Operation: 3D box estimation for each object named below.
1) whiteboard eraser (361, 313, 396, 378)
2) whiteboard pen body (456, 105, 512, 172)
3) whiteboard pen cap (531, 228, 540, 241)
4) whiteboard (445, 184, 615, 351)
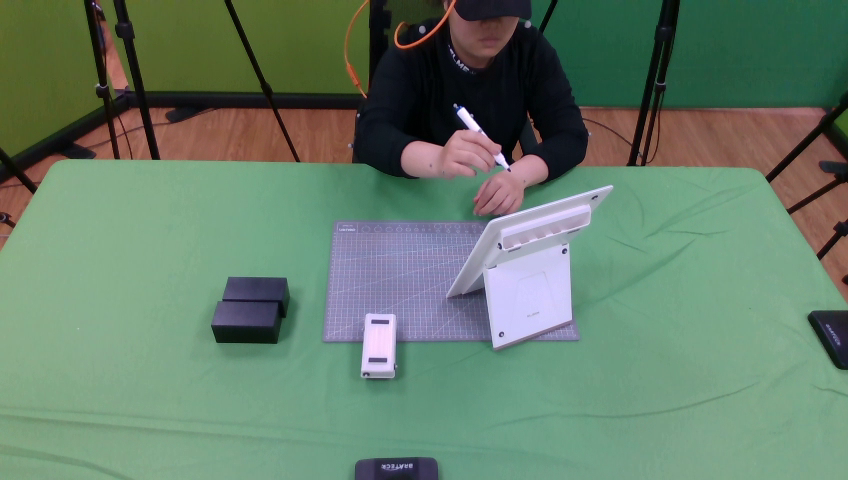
[{"bbox_3d":[-0.075,0.176,1.006,0.055,0.042,0.112,3,50,-4],"label":"whiteboard eraser"},{"bbox_3d":[0.101,-0.168,1.010,0.017,0.017,0.140,-36,85,-31],"label":"whiteboard pen body"},{"bbox_3d":[0.225,-0.012,1.221,0.018,0.018,0.033,13,29,8],"label":"whiteboard pen cap"},{"bbox_3d":[0.187,0.065,0.989,0.217,0.306,0.143,-15,68,-18],"label":"whiteboard"}]
